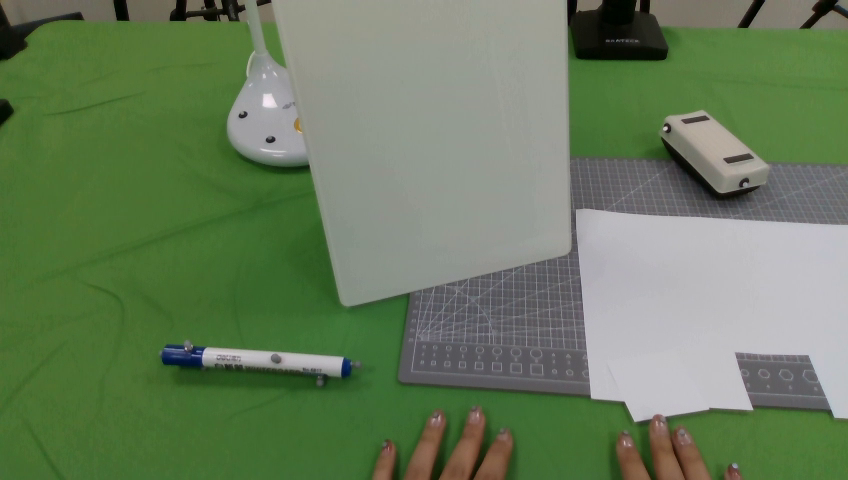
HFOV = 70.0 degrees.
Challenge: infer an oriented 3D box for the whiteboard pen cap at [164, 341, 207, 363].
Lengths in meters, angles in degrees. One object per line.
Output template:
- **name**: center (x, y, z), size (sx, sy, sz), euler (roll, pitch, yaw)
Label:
- **whiteboard pen cap**: center (-0.185, 0.089, 0.477), size (0.033, 0.018, 0.018), euler (3, 45, 2)

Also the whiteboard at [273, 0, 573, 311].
- **whiteboard**: center (-0.001, -0.125, 0.530), size (0.217, 0.308, 0.142), euler (-12, 27, -9)

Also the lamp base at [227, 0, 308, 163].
- **lamp base**: center (-0.159, -0.202, 0.660), size (0.160, 0.182, 0.177), euler (-34, 51, -28)

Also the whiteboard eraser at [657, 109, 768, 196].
- **whiteboard eraser**: center (0.294, -0.091, 0.626), size (0.056, 0.042, 0.111), euler (-14, 46, -10)

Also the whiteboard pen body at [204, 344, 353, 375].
- **whiteboard pen body**: center (-0.126, 0.092, 0.473), size (0.141, 0.017, 0.017), euler (4, 45, 3)
